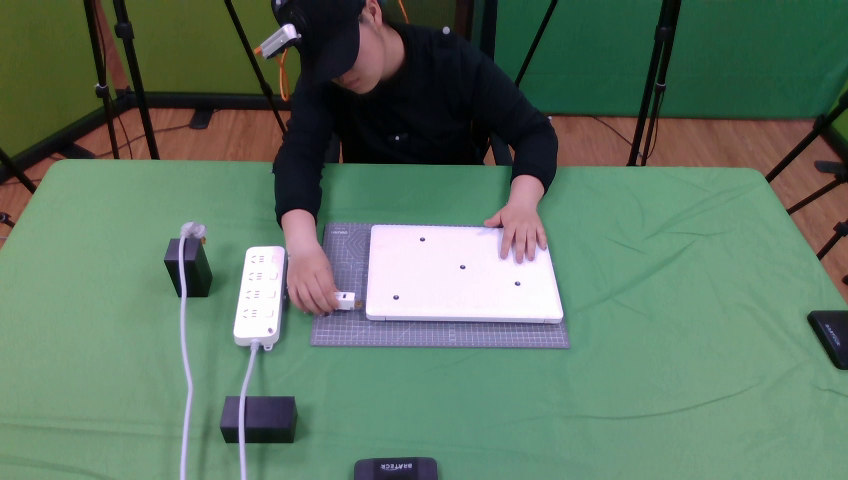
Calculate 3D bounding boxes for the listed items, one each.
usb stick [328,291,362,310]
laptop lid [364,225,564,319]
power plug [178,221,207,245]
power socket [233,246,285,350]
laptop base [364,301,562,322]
[{"bbox_3d":[-0.138,0.107,1.062,0.059,0.027,0.021,8,40,-4],"label":"usb stick"},{"bbox_3d":[0.070,0.053,1.138,0.357,0.013,0.240,3,44,-2],"label":"laptop lid"},{"bbox_3d":[-0.413,-0.002,1.070,0.035,0.053,0.072,-1,41,24],"label":"power plug"},{"bbox_3d":[-0.290,0.094,1.078,0.072,0.033,0.225,-2,46,-5],"label":"power socket"},{"bbox_3d":[0.070,0.063,1.145,0.354,0.023,0.234,1,43,-3],"label":"laptop base"}]
